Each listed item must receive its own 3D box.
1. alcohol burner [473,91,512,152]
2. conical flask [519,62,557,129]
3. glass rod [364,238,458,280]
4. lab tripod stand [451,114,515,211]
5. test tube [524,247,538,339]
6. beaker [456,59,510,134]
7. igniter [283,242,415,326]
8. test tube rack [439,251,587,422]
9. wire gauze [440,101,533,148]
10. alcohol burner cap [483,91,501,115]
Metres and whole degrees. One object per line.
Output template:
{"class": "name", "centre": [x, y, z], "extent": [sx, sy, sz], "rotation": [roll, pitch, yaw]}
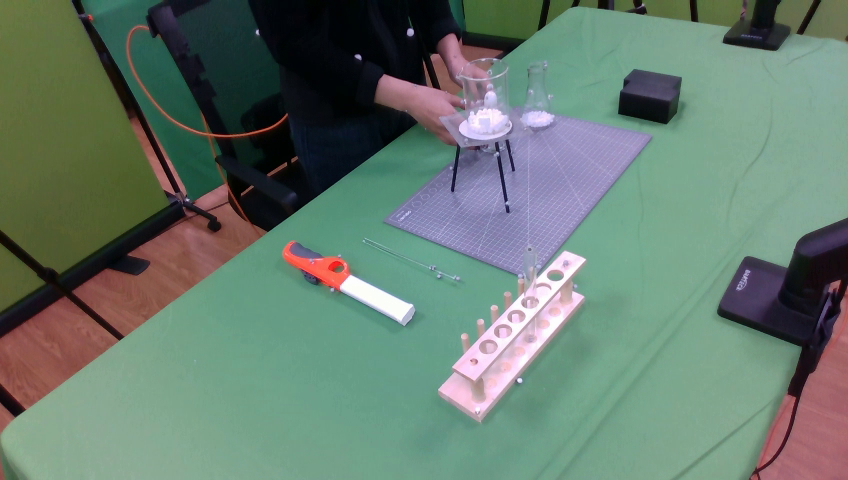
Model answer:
{"class": "alcohol burner", "centre": [0.132, -0.229, 1.154], "extent": [0.078, 0.119, 0.077], "rotation": [-5, 39, 4]}
{"class": "conical flask", "centre": [0.225, -0.288, 1.198], "extent": [0.075, 0.122, 0.075], "rotation": [-6, 40, 5]}
{"class": "glass rod", "centre": [-0.026, 0.029, 0.966], "extent": [0.198, 0.008, 0.008], "rotation": [22, 49, 35]}
{"class": "lab tripod stand", "centre": [0.113, -0.140, 1.037], "extent": [0.148, 0.132, 0.147], "rotation": [-6, 38, 5]}
{"class": "test tube", "centre": [0.133, 0.070, 0.749], "extent": [0.017, 0.151, 0.017], "rotation": [-5, 38, 4]}
{"class": "beaker", "centre": [0.098, -0.226, 0.964], "extent": [0.084, 0.101, 0.073], "rotation": [-7, 39, 4]}
{"class": "igniter", "centre": [-0.126, 0.062, 0.931], "extent": [0.274, 0.025, 0.057], "rotation": [24, 61, 33]}
{"class": "test tube rack", "centre": [0.118, 0.111, 0.780], "extent": [0.066, 0.085, 0.243], "rotation": [26, 51, 35]}
{"class": "wire gauze", "centre": [0.100, -0.189, 0.995], "extent": [0.125, 0.011, 0.120], "rotation": [-16, 37, -6]}
{"class": "alcohol burner cap", "centre": [0.128, -0.256, 1.130], "extent": [0.034, 0.048, 0.033], "rotation": [-3, 47, 3]}
